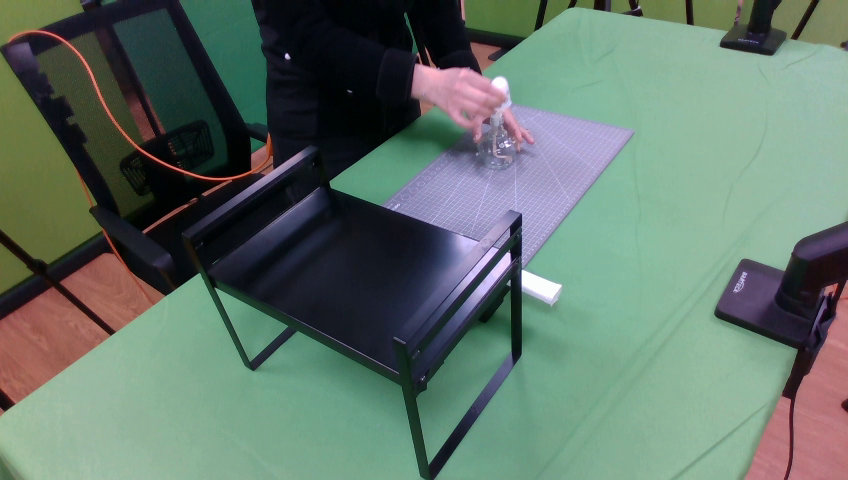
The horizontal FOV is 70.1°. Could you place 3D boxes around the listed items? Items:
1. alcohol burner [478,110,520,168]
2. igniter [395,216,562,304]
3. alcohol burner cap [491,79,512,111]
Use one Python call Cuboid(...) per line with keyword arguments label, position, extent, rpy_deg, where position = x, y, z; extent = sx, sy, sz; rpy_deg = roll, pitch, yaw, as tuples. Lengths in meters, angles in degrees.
Cuboid(label="alcohol burner", position=(0.136, -0.193, 1.106), extent=(0.078, 0.119, 0.077), rpy_deg=(-5, 39, 5))
Cuboid(label="igniter", position=(0.066, 0.023, 0.864), extent=(0.274, 0.025, 0.057), rpy_deg=(24, 48, 28))
Cuboid(label="alcohol burner cap", position=(0.122, -0.234, 0.970), extent=(0.034, 0.048, 0.033), rpy_deg=(-9, 38, 8))
